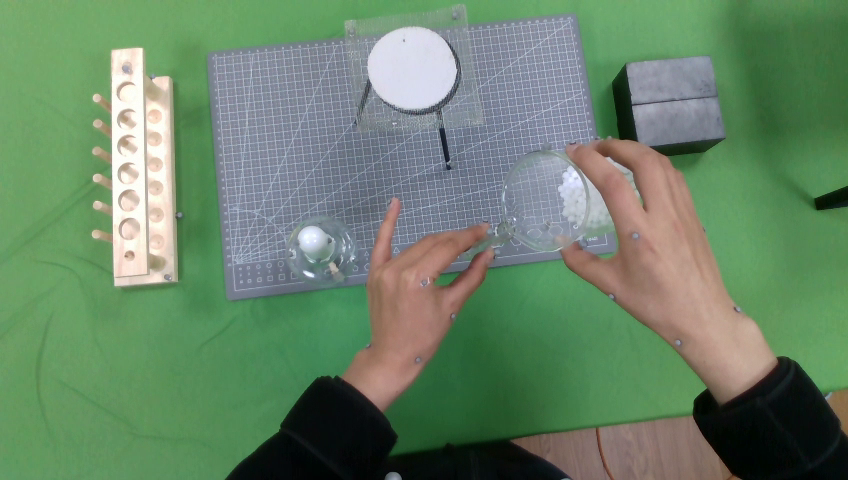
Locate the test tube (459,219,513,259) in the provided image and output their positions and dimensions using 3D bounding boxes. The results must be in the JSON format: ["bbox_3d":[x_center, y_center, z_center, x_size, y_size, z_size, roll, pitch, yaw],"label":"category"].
[{"bbox_3d":[0.052,0.002,0.539,0.017,0.150,0.017,1,81,-8],"label":"test tube"}]

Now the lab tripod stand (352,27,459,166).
[{"bbox_3d":[-0.011,-0.161,0.656,0.148,0.132,0.148,0,79,-1],"label":"lab tripod stand"}]

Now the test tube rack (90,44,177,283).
[{"bbox_3d":[-0.321,-0.079,0.661,0.067,0.085,0.241,-5,82,-2],"label":"test tube rack"}]

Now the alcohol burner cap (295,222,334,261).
[{"bbox_3d":[-0.111,0.000,0.603,0.034,0.048,0.033,-1,75,4],"label":"alcohol burner cap"}]

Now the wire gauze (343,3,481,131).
[{"bbox_3d":[-0.012,-0.167,0.590,0.125,0.011,0.121,-6,82,-3],"label":"wire gauze"}]

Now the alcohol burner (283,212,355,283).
[{"bbox_3d":[-0.112,0.006,0.638,0.078,0.119,0.077,1,81,-3],"label":"alcohol burner"}]

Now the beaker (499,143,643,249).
[{"bbox_3d":[0.116,-0.036,0.470,0.101,0.084,0.073,-13,72,-45],"label":"beaker"}]
